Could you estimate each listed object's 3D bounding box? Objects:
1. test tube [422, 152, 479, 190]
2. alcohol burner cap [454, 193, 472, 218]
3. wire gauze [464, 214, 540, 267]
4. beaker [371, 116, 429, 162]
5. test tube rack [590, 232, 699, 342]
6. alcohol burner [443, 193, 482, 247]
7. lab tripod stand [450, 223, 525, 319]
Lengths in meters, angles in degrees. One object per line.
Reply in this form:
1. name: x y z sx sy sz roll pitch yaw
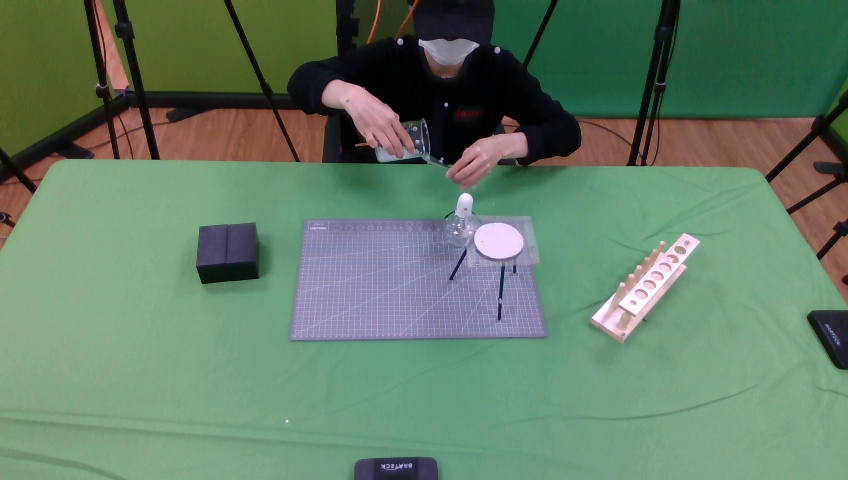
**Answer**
1. test tube: 0.056 -0.138 1.224 0.151 0.017 0.017 27 36 -32
2. alcohol burner cap: 0.076 -0.068 1.151 0.034 0.048 0.033 4 46 -4
3. wire gauze: 0.131 -0.002 1.034 0.121 0.011 0.124 1 45 -2
4. beaker: -0.046 -0.187 1.154 0.100 0.084 0.073 -10 38 -8
5. test tube rack: 0.407 0.074 1.112 0.066 0.085 0.242 35 53 26
6. alcohol burner: 0.075 -0.044 1.177 0.078 0.120 0.077 2 45 -1
7. lab tripod stand: 0.120 0.046 1.080 0.148 0.132 0.147 1 47 -1
